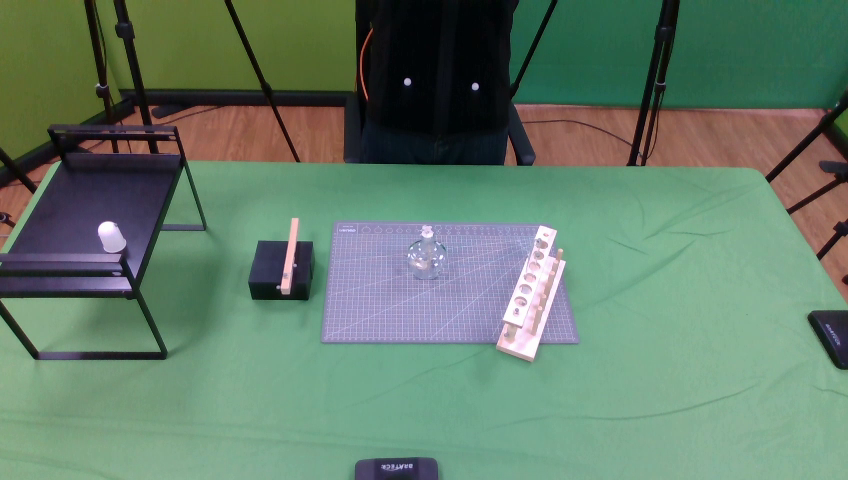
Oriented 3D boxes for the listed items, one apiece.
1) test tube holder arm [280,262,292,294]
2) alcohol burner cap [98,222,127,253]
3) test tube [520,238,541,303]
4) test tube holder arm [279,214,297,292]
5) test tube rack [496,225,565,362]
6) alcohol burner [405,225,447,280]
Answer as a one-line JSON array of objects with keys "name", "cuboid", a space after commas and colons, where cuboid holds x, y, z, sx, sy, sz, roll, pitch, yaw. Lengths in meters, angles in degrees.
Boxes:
[{"name": "test tube holder arm", "cuboid": [-0.242, 0.057, 1.062, 0.015, 0.010, 0.087, 7, 49, -12]}, {"name": "alcohol burner cap", "cuboid": [-0.468, -0.007, 0.904, 0.034, 0.048, 0.033, 3, 45, -3]}, {"name": "test tube", "cuboid": [0.182, 0.056, 1.042, 0.017, 0.151, 0.017, 1, 44, -1]}, {"name": "test tube holder arm", "cuboid": [-0.242, 0.020, 1.087, 0.015, 0.013, 0.177, 7, 49, -12]}, {"name": "test tube rack", "cuboid": [0.200, 0.089, 1.081, 0.066, 0.085, 0.241, 19, 48, 13]}, {"name": "alcohol burner", "cuboid": [0.004, 0.017, 1.115, 0.078, 0.120, 0.077, 1, 47, -1]}]
